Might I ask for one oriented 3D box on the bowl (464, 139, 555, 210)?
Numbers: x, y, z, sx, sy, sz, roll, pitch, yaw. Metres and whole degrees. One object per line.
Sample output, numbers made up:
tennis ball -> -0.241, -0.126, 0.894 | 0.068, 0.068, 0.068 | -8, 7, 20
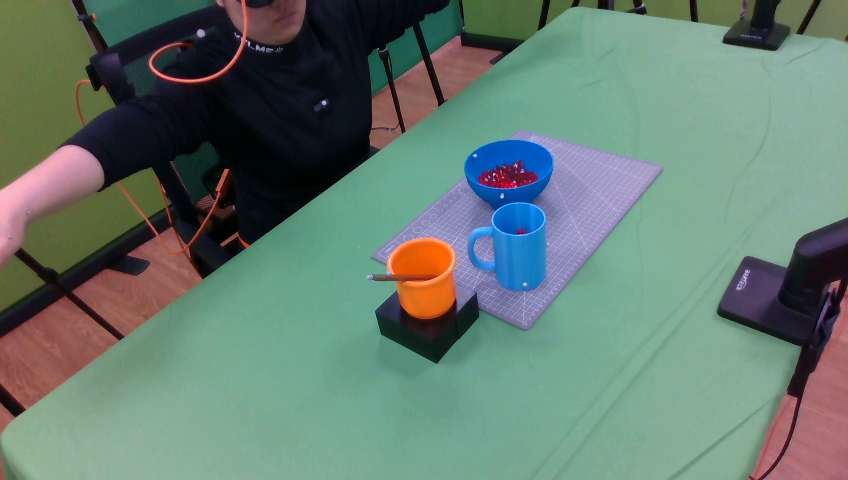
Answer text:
bowl -> 0.145, -0.100, 1.025 | 0.151, 0.077, 0.150 | -5, 40, 5

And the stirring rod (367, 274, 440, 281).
stirring rod -> -0.021, 0.047, 0.762 | 0.014, 0.006, 0.177 | 17, 5, 26

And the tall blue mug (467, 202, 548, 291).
tall blue mug -> 0.125, 0.015, 0.868 | 0.107, 0.108, 0.077 | -21, 42, -14
